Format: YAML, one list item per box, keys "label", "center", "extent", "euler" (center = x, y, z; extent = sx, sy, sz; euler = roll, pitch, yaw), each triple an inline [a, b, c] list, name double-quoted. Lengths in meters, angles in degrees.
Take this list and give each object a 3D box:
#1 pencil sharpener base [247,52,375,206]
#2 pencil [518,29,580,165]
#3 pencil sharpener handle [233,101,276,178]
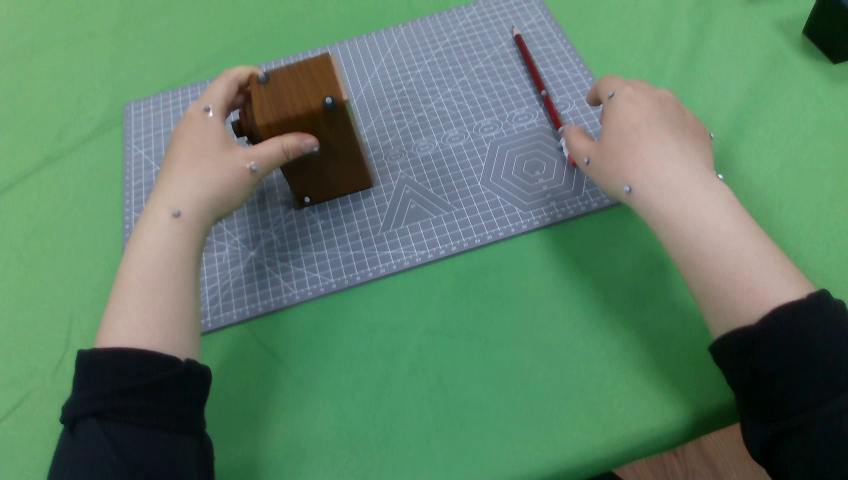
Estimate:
- label: "pencil sharpener base"
  center: [-0.091, -0.087, 0.499]
  extent: [0.077, 0.108, 0.060]
  euler: [-18, 56, -2]
- label: "pencil"
  center: [0.112, -0.140, 0.562]
  extent: [0.012, 0.012, 0.192]
  euler: [-12, 54, 1]
- label: "pencil sharpener handle"
  center: [-0.141, -0.077, 0.486]
  extent: [0.030, 0.068, 0.035]
  euler: [-18, 53, -2]
